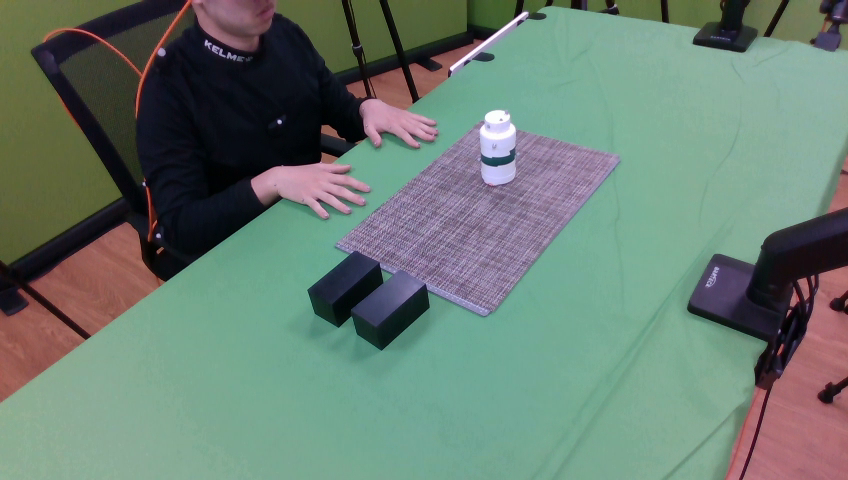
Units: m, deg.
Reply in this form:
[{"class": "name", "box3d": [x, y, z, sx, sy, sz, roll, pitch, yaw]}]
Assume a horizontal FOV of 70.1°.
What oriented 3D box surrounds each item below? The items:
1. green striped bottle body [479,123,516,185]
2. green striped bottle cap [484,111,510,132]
[{"class": "green striped bottle body", "box3d": [0.129, -0.162, 1.058, 0.063, 0.120, 0.063, -4, 41, 4]}, {"class": "green striped bottle cap", "box3d": [0.123, -0.201, 1.024, 0.044, 0.020, 0.044, -3, 39, 3]}]
